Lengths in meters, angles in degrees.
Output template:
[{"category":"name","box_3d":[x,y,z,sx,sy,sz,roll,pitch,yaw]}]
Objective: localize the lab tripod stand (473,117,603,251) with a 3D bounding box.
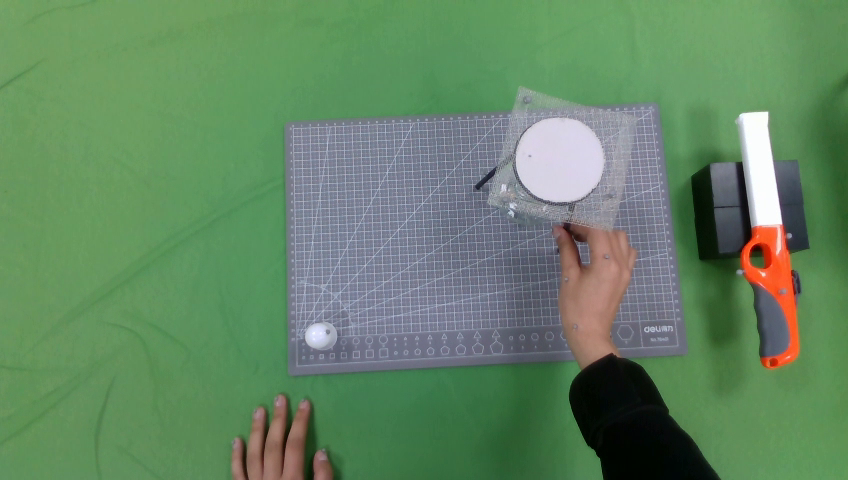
[{"category":"lab tripod stand","box_3d":[0.130,-0.069,0.649,0.148,0.132,0.147,0,78,1]}]

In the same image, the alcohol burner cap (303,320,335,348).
[{"category":"alcohol burner cap","box_3d":[-0.118,0.103,0.667,0.034,0.048,0.033,0,80,-1]}]

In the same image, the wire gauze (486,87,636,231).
[{"category":"wire gauze","box_3d":[0.134,-0.079,0.583,0.121,0.011,0.124,16,80,2]}]

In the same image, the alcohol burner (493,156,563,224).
[{"category":"alcohol burner","box_3d":[0.115,-0.058,0.657,0.078,0.119,0.077,0,82,1]}]

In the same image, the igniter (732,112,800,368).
[{"category":"igniter","box_3d":[0.363,-0.003,0.649,0.057,0.025,0.275,-3,80,5]}]
